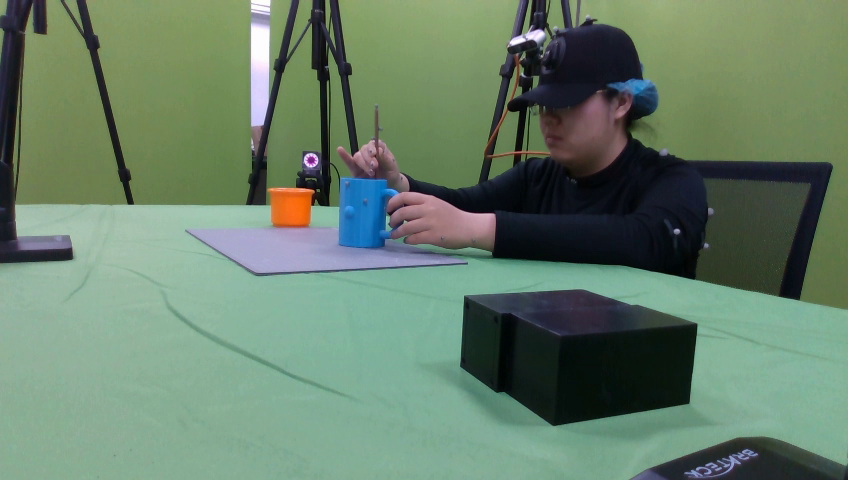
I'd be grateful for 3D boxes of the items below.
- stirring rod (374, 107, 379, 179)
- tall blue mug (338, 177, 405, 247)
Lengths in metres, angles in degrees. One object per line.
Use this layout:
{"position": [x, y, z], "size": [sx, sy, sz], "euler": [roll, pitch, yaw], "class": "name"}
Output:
{"position": [-0.075, -0.123, 0.966], "size": [0.006, 0.176, 0.014], "euler": [-1, 4, -18], "class": "stirring rod"}
{"position": [-0.083, -0.045, 0.973], "size": [0.107, 0.108, 0.078], "euler": [2, 6, 0], "class": "tall blue mug"}
